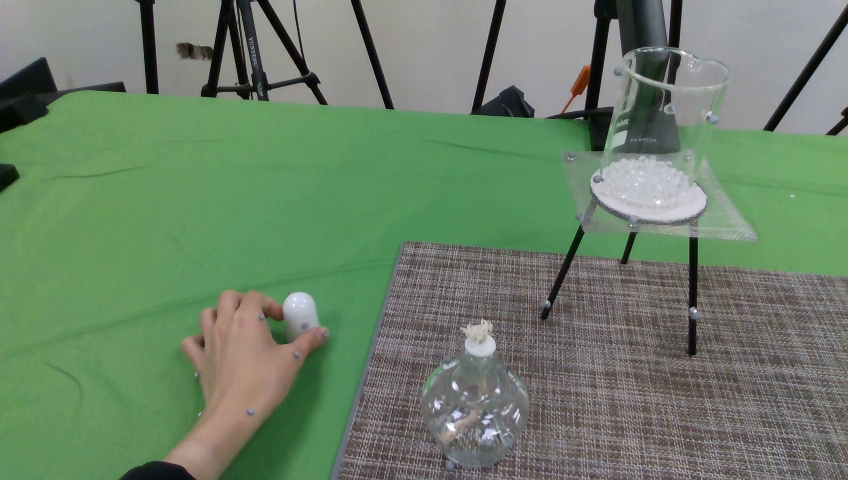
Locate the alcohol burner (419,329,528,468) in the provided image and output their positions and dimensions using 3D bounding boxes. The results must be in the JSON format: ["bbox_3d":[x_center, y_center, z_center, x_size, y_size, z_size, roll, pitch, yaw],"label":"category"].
[{"bbox_3d":[0.035,0.103,0.418,0.078,0.120,0.077,1,40,0],"label":"alcohol burner"}]

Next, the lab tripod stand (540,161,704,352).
[{"bbox_3d":[0.179,0.012,0.518,0.148,0.132,0.147,1,38,-1],"label":"lab tripod stand"}]

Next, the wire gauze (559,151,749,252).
[{"bbox_3d":[0.174,-0.037,0.475,0.125,0.011,0.120,5,40,0],"label":"wire gauze"}]

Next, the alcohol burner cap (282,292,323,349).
[{"bbox_3d":[-0.109,0.068,0.530,0.034,0.048,0.033,-4,36,4],"label":"alcohol burner cap"}]

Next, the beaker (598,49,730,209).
[{"bbox_3d":[0.174,-0.082,0.451,0.073,0.101,0.084,30,46,31],"label":"beaker"}]
